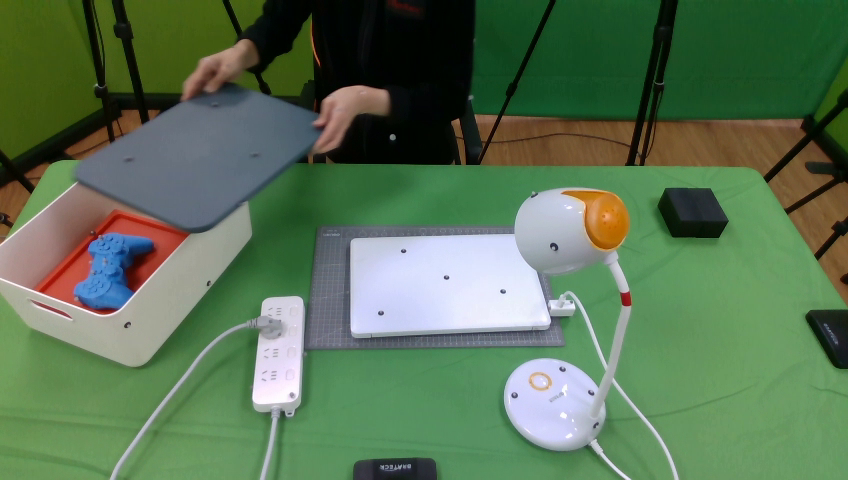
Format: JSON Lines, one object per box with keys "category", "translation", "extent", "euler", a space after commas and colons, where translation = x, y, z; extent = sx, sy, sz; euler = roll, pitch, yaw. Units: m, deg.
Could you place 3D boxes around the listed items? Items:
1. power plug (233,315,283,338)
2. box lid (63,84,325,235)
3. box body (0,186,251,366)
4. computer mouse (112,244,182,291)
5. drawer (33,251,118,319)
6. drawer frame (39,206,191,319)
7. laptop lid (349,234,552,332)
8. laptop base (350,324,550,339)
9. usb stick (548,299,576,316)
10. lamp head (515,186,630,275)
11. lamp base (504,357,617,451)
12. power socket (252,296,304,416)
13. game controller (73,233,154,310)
{"category": "power plug", "translation": [-0.270, 0.143, 0.999], "extent": [0.072, 0.053, 0.035], "euler": [5, 46, 2]}
{"category": "box lid", "translation": [-0.364, -0.151, 1.009], "extent": [0.262, 0.015, 0.370], "euler": [22, 43, 15]}
{"category": "box body", "translation": [-0.496, 0.013, 1.048], "extent": [0.254, 0.161, 0.362], "euler": [17, 47, 12]}
{"category": "computer mouse", "translation": [-0.493, 0.046, 1.078], "extent": [0.117, 0.041, 0.062], "euler": [24, 42, 13]}
{"category": "drawer", "translation": [-0.508, 0.055, 1.045], "extent": [0.194, 0.073, 0.211], "euler": [15, 43, 11]}
{"category": "drawer frame", "translation": [-0.504, 0.056, 1.051], "extent": [0.201, 0.083, 0.212], "euler": [14, 51, 12]}
{"category": "laptop lid", "translation": [0.040, 0.071, 1.117], "extent": [0.357, 0.013, 0.240], "euler": [0, 44, -5]}
{"category": "laptop base", "translation": [0.039, 0.081, 1.124], "extent": [0.355, 0.023, 0.234], "euler": [-2, 43, -6]}
{"category": "usb stick", "translation": [0.239, 0.121, 1.083], "extent": [0.059, 0.027, 0.021], "euler": [-1, 50, -2]}
{"category": "lamp head", "translation": [0.188, -0.013, 0.728], "extent": [0.112, 0.112, 0.122], "euler": [-25, 9, -25]}
{"category": "lamp base", "translation": [0.220, 0.211, 0.903], "extent": [0.160, 0.181, 0.178], "euler": [-32, 59, -30]}
{"category": "power socket", "translation": [-0.238, 0.181, 0.997], "extent": [0.072, 0.033, 0.225], "euler": [-3, 47, -5]}
{"category": "game controller", "translation": [-0.507, 0.047, 0.991], "extent": [0.097, 0.052, 0.154], "euler": [-5, 46, -4]}
